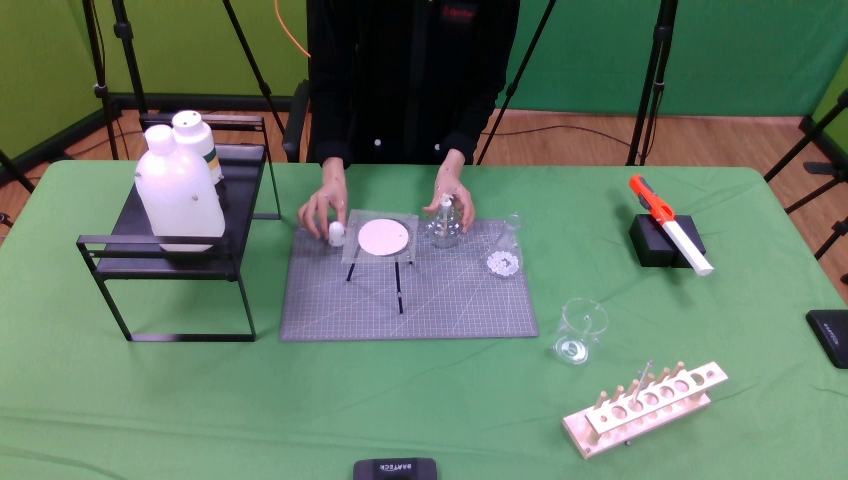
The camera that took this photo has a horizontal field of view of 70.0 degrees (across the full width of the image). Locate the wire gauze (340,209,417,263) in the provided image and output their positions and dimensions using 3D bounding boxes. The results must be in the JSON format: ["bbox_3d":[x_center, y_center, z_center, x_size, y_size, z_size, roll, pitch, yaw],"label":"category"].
[{"bbox_3d":[-0.074,-0.007,1.023,0.121,0.011,0.124,3,46,0],"label":"wire gauze"}]

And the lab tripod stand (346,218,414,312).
[{"bbox_3d":[-0.070,0.037,1.075,0.148,0.132,0.147,1,48,-1],"label":"lab tripod stand"}]

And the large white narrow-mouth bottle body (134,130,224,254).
[{"bbox_3d":[-0.358,-0.075,0.875,0.102,0.195,0.101,1,48,-1],"label":"large white narrow-mouth bottle body"}]

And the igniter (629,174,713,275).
[{"bbox_3d":[0.481,-0.040,1.202,0.057,0.025,0.274,-2,46,-21],"label":"igniter"}]

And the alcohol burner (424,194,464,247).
[{"bbox_3d":[0.039,-0.043,1.175,0.078,0.120,0.077,1,48,-1],"label":"alcohol burner"}]

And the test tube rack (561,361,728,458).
[{"bbox_3d":[0.341,0.248,0.940,0.243,0.085,0.066,-15,49,-18],"label":"test tube rack"}]

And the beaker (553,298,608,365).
[{"bbox_3d":[0.260,0.154,1.015,0.073,0.101,0.084,37,54,27],"label":"beaker"}]

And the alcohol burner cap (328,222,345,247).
[{"bbox_3d":[-0.169,-0.013,1.158,0.034,0.048,0.033,0,53,0],"label":"alcohol burner cap"}]

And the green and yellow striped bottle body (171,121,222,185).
[{"bbox_3d":[-0.375,-0.149,0.995,0.063,0.120,0.063,2,46,-2],"label":"green and yellow striped bottle body"}]

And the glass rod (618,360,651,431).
[{"bbox_3d":[0.297,0.227,0.865,0.008,0.201,0.008,-1,47,2],"label":"glass rod"}]

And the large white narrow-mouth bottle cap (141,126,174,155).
[{"bbox_3d":[-0.356,-0.133,0.811,0.038,0.024,0.037,2,48,-2],"label":"large white narrow-mouth bottle cap"}]

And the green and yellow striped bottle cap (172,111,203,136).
[{"bbox_3d":[-0.374,-0.185,0.958,0.045,0.020,0.045,4,46,-4],"label":"green and yellow striped bottle cap"}]

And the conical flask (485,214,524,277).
[{"bbox_3d":[0.157,0.007,1.129,0.075,0.122,0.075,2,46,-2],"label":"conical flask"}]
